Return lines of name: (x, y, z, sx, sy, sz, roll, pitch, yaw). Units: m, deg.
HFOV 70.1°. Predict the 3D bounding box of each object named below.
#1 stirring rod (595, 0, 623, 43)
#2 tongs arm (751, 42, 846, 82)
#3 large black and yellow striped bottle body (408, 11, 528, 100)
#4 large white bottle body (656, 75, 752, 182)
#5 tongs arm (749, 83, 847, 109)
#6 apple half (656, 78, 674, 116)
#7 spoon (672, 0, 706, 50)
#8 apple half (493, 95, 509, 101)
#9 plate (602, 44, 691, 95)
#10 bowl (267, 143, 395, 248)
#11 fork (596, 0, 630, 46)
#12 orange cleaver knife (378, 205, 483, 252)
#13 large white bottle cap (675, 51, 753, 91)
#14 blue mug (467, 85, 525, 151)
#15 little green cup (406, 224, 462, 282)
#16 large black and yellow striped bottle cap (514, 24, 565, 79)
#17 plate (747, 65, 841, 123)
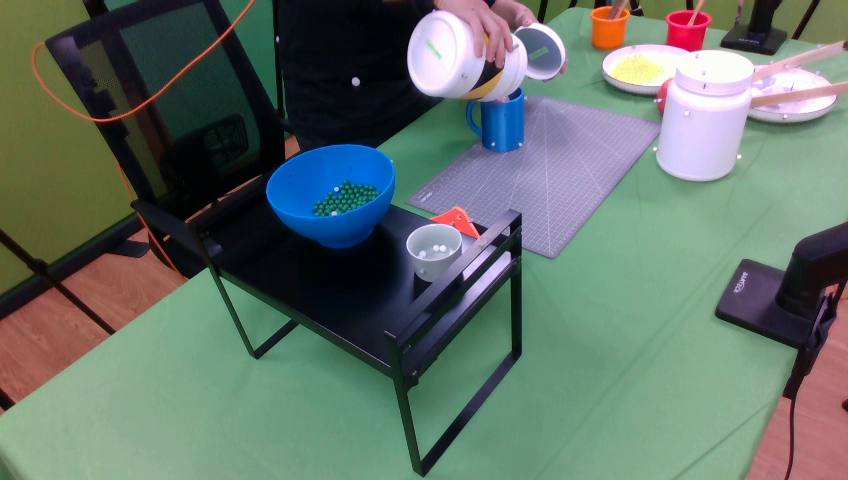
stirring rod: (0.460, -0.556, 1.459, 0.014, 0.006, 0.176, 30, 93, 23)
tongs arm: (0.708, -0.331, 1.193, 0.386, 0.026, 0.050, -18, 45, -16)
large black and yellow striped bottle body: (0.080, -0.307, 1.030, 0.185, 0.131, 0.129, -8, 31, -44)
large white bottle body: (0.472, -0.207, 1.022, 0.130, 0.185, 0.130, -4, 41, 4)
tongs arm: (0.734, -0.280, 1.133, 0.388, 0.028, 0.028, -9, 47, -5)
apple half: (0.488, -0.281, 1.192, 0.053, 0.075, 0.081, 24, 53, 37)
spoon: (0.629, -0.520, 1.394, 0.041, 0.022, 0.193, 29, 97, 34)
apple half: (0.141, -0.239, 1.158, 0.033, 0.081, 0.080, -13, 40, -17)
plate: (0.495, -0.367, 1.317, 0.209, 0.038, 0.208, -4, 40, 4)
bowl: (-0.104, -0.043, 0.726, 0.151, 0.077, 0.150, -4, 40, 4)
fork: (0.481, -0.556, 1.452, 0.028, 0.019, 0.207, 40, 103, 40)
orange cleaver knife: (0.005, -0.010, 0.943, 0.210, 0.077, 0.012, -5, 23, 47)
large white bottle cap: (0.463, -0.271, 0.967, 0.115, 0.018, 0.114, -4, 40, 4)
blue mug: (0.138, -0.241, 1.169, 0.116, 0.106, 0.082, 11, 44, 21)
little green cup: (0.012, 0.015, 0.668, 0.061, 0.039, 0.061, -4, 40, 4)
large black and yellow striped bottle cap: (0.222, -0.369, 1.187, 0.114, 0.115, 0.019, 20, 59, 29)
plate: (0.695, -0.282, 1.189, 0.207, 0.039, 0.206, -4, 40, 4)
